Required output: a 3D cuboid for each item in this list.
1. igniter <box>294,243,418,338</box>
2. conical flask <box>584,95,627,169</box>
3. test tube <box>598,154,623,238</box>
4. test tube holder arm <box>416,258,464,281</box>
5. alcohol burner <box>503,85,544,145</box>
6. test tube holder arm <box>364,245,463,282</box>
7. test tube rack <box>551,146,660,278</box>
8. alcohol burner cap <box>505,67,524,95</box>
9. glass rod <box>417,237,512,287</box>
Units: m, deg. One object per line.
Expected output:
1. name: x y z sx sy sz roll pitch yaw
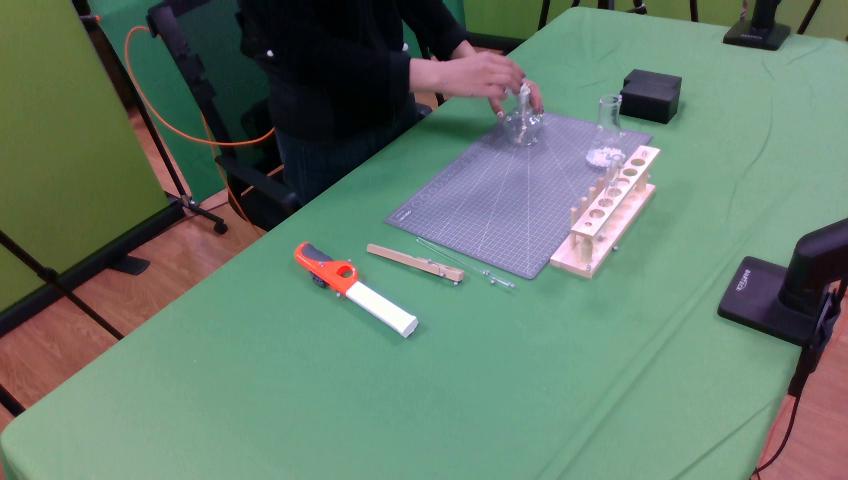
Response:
1. igniter: -0.114 0.070 0.919 0.274 0.025 0.057 29 63 37
2. conical flask: 0.324 -0.192 1.066 0.075 0.122 0.075 -6 40 5
3. test tube: 0.269 -0.059 0.876 0.017 0.151 0.017 -2 43 3
4. test tube holder arm: 0.022 0.045 0.931 0.087 0.015 0.010 16 10 27
5. alcohol burner: 0.191 -0.244 1.160 0.078 0.119 0.077 -4 40 4
6. test tube holder arm: -0.020 0.034 0.947 0.177 0.015 0.013 16 10 26
7. test tube rack: 0.286 -0.053 0.943 0.066 0.085 0.243 21 49 32
8. alcohol burner cap: 0.161 -0.287 1.083 0.034 0.048 0.033 -7 50 10
9. glass rod: 0.059 0.033 0.945 0.198 0.008 0.008 26 52 38
